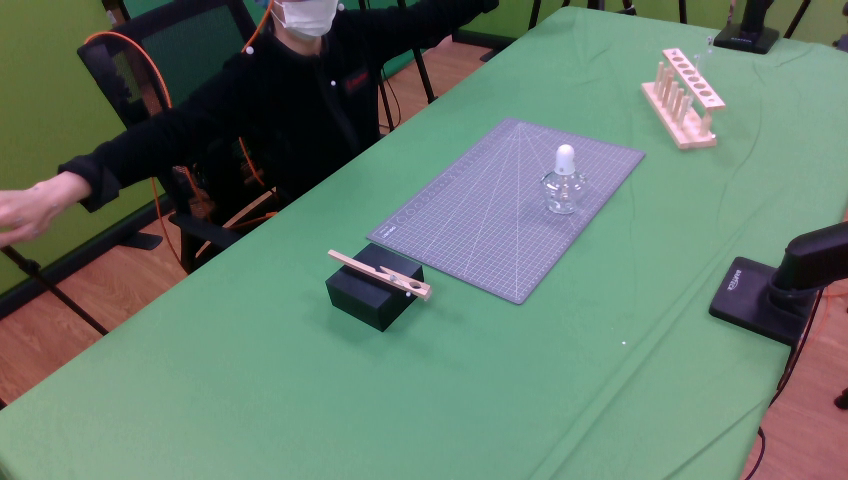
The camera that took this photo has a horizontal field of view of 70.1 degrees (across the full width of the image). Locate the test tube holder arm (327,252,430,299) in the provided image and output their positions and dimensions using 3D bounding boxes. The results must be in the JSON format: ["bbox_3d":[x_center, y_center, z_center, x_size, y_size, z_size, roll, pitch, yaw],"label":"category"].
[{"bbox_3d":[-0.068,0.049,0.855,0.177,0.015,0.013,18,54,27],"label":"test tube holder arm"}]

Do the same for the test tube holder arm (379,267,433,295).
[{"bbox_3d":[-0.027,0.057,0.837,0.087,0.015,0.010,18,54,28],"label":"test tube holder arm"}]

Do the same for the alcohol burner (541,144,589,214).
[{"bbox_3d":[0.229,-0.102,0.983,0.078,0.119,0.077,-6,40,5],"label":"alcohol burner"}]

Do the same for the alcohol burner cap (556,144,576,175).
[{"bbox_3d":[0.225,-0.129,0.958,0.034,0.048,0.033,-6,37,5],"label":"alcohol burner cap"}]

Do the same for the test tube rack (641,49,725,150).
[{"bbox_3d":[0.495,-0.279,1.175,0.067,0.085,0.241,-5,41,3],"label":"test tube rack"}]

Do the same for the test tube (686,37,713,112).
[{"bbox_3d":[0.509,-0.306,1.128,0.017,0.151,0.017,-1,45,1],"label":"test tube"}]
